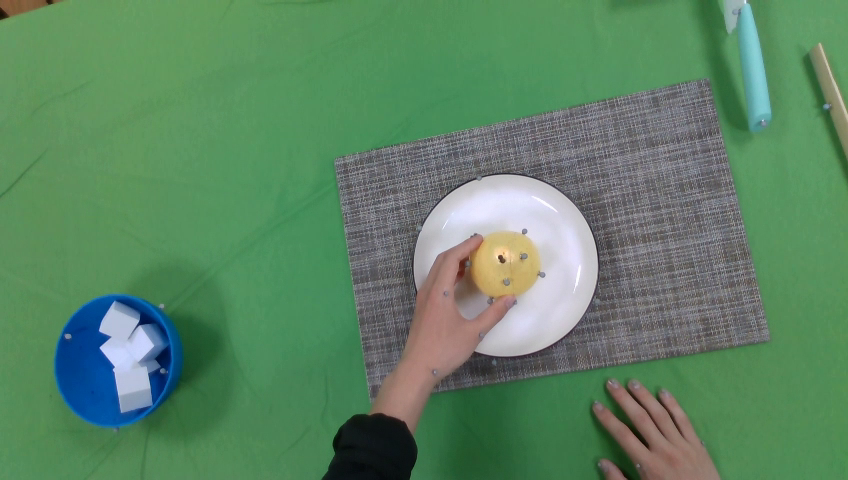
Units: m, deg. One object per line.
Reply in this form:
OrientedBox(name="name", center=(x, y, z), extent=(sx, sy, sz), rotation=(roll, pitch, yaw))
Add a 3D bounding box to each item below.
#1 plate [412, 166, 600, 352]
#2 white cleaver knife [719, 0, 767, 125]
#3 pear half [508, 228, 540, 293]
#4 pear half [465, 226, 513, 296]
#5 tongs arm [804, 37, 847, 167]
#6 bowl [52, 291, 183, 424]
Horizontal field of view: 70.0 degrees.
OrientedBox(name="plate", center=(0.091, 0.021, 0.687), extent=(0.207, 0.039, 0.207), rotation=(-1, 84, 9))
OrientedBox(name="white cleaver knife", center=(0.341, -0.269, 0.667), extent=(0.021, 0.066, 0.286), rotation=(-9, 92, 12))
OrientedBox(name="pear half", center=(0.108, 0.020, 0.649), extent=(0.031, 0.088, 0.070), rotation=(-5, 78, 10))
OrientedBox(name="pear half", center=(0.071, 0.020, 0.645), extent=(0.056, 0.110, 0.076), rotation=(-4, 77, 9))
OrientedBox(name="tongs arm", center=(0.487, -0.040, 0.645), extent=(0.028, 0.028, 0.386), rotation=(-18, 81, 5))
OrientedBox(name="bowl", center=(-0.347, 0.136, 0.722), extent=(0.151, 0.077, 0.151), rotation=(-1, 84, 8))
